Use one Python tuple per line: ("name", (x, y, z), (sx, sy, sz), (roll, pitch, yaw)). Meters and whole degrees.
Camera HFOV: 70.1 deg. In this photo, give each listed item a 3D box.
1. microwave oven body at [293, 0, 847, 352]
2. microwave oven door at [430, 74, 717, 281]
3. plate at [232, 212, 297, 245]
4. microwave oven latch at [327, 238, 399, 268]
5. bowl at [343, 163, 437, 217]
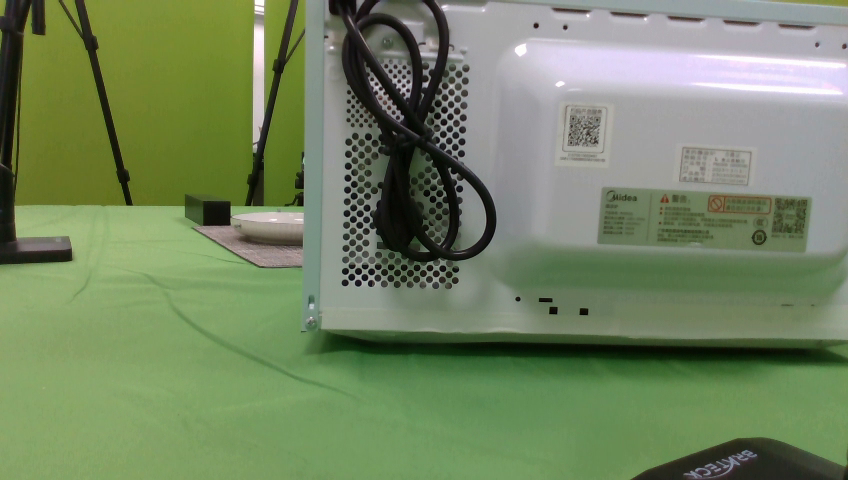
("microwave oven body", (0.122, -0.055, 0.550), (0.442, 0.260, 0.325), (3, 7, -5))
("microwave oven door", (0.177, -0.088, 0.791), (0.354, 0.243, 0.039), (6, 8, 28))
("plate", (-0.214, -0.019, 1.018), (0.208, 0.039, 0.207), (3, 7, 0))
("microwave oven latch", (-0.069, 0.015, 0.694), (0.079, 0.029, 0.030), (3, 7, -3))
("bowl", (-0.056, -0.079, 0.966), (0.151, 0.077, 0.151), (4, 6, 0))
